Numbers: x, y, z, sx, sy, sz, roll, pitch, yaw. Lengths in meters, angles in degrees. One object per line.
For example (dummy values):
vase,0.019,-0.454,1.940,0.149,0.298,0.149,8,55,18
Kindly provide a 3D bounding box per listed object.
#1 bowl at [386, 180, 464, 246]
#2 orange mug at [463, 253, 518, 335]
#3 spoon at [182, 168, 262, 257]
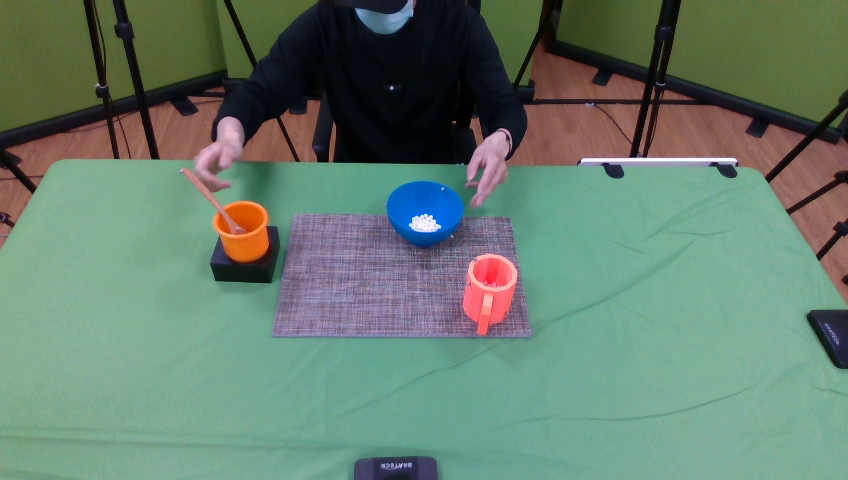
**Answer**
bowl,0.000,-0.041,1.191,0.151,0.077,0.150,2,46,-2
orange mug,0.113,0.098,1.050,0.083,0.101,0.125,10,42,6
spoon,-0.354,-0.049,1.061,0.041,0.194,0.021,-45,19,-31
